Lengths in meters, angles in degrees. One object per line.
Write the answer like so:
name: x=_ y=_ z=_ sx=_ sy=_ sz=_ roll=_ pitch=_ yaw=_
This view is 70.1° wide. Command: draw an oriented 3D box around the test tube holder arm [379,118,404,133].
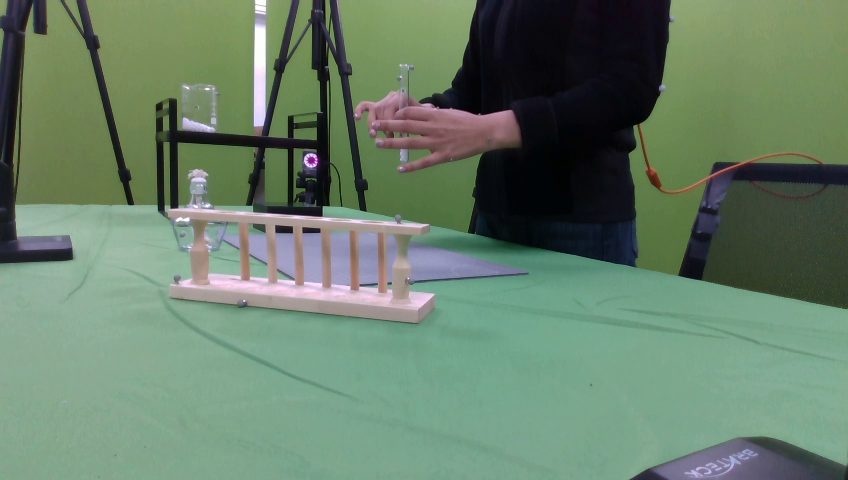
test tube holder arm: x=-0.055 y=-0.191 z=0.997 sx=0.013 sy=0.015 sz=0.178 roll=3 pitch=14 yaw=-16

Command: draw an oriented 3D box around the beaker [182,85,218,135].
beaker: x=-0.479 y=-0.276 z=1.291 sx=0.074 sy=0.100 sz=0.084 roll=2 pitch=8 yaw=-1

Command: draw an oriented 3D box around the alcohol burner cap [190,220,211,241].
alcohol burner cap: x=-0.365 y=-0.023 z=0.988 sx=0.034 sy=0.048 sz=0.034 roll=2 pitch=8 yaw=0

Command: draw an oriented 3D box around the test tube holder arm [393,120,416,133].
test tube holder arm: x=-0.035 y=-0.180 z=0.958 sx=0.010 sy=0.015 sz=0.087 roll=-1 pitch=15 yaw=-27

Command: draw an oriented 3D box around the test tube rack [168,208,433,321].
test tube rack: x=-0.115 y=0.017 z=0.574 sx=0.242 sy=0.085 sz=0.067 roll=4 pitch=8 yaw=13

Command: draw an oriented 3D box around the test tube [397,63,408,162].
test tube: x=-0.033 y=-0.195 z=0.932 sx=0.017 sy=0.150 sz=0.017 roll=0 pitch=15 yaw=0

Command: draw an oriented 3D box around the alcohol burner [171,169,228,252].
alcohol burner: x=-0.325 y=-0.042 z=0.875 sx=0.078 sy=0.119 sz=0.078 roll=0 pitch=7 yaw=0
